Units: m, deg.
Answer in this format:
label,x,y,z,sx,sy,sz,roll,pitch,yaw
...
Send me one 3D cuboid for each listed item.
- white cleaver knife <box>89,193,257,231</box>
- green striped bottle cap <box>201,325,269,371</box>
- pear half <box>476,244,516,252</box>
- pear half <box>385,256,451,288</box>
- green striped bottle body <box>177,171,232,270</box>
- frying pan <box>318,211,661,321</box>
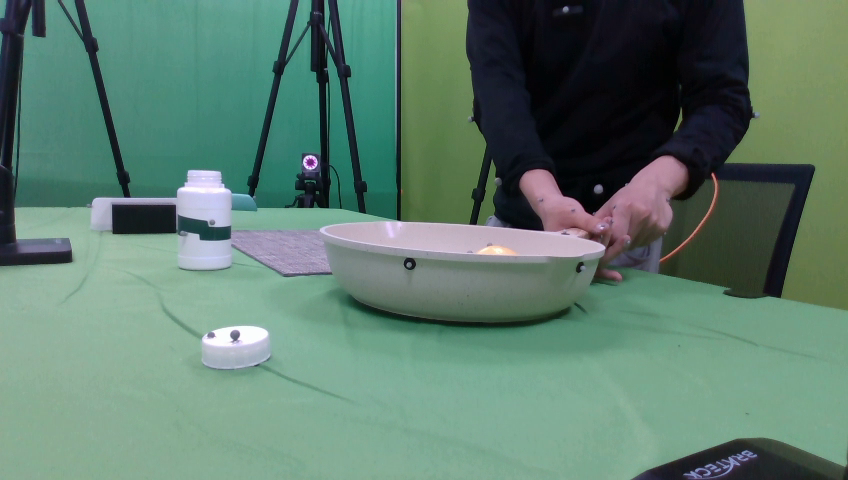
label,x,y,z,sx,sy,sz,roll,pitch,yaw
white cleaver knife,-0.454,-0.052,1.115,0.288,0.066,0.021,-4,14,-27
green striped bottle cap,-0.129,0.073,0.415,0.044,0.020,0.044,2,8,0
pear half,0.071,0.031,0.654,0.077,0.056,0.109,6,2,-25
pear half,-0.003,0.034,0.681,0.070,0.031,0.088,14,16,37
green striped bottle body,-0.273,-0.026,0.752,0.063,0.119,0.063,2,7,0
frying pan,0.121,0.005,0.691,0.490,0.102,0.305,-11,14,-33
